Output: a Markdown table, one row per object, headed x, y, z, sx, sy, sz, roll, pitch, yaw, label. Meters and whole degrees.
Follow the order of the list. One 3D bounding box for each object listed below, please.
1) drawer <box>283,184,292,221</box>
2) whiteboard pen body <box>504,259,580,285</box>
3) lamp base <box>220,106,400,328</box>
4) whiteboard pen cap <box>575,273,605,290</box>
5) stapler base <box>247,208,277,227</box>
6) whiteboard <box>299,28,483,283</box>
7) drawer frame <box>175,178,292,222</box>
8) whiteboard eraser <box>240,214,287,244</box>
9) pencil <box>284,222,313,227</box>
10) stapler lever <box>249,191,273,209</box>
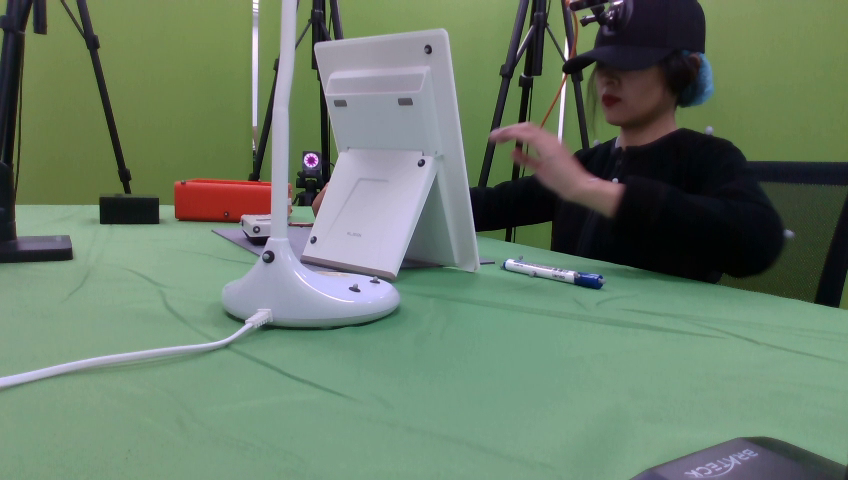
| x | y | z | sx | sy | sz | roll | pitch | yaw | label |
| --- | --- | --- | --- | --- | --- | --- | --- | --- | --- |
| -0.397 | -0.086 | 1.314 | 0.212 | 0.073 | 0.194 | 1 | 8 | -9 | drawer |
| 0.157 | 0.042 | 0.764 | 0.017 | 0.017 | 0.140 | -4 | 11 | -41 | whiteboard pen body |
| -0.101 | -0.023 | 0.531 | 0.160 | 0.180 | 0.179 | 4 | 10 | 10 | lamp base |
| 0.197 | 0.048 | 0.719 | 0.018 | 0.018 | 0.033 | -4 | 10 | -41 | whiteboard pen cap |
| -0.350 | -0.054 | 1.310 | 0.041 | 0.024 | 0.130 | 0 | 13 | -3 | stapler base |
| -0.075 | -0.082 | 0.741 | 0.216 | 0.305 | 0.144 | 9 | 30 | 38 | whiteboard |
| -0.402 | -0.087 | 1.311 | 0.214 | 0.082 | 0.201 | 1 | 8 | -9 | drawer frame |
| -0.256 | -0.018 | 0.958 | 0.056 | 0.042 | 0.112 | 0 | 8 | -25 | whiteboard eraser |
| -0.234 | -0.030 | 1.203 | 0.195 | 0.012 | 0.012 | 1 | 7 | -28 | pencil |
| -0.352 | -0.086 | 1.306 | 0.027 | 0.040 | 0.118 | 0 | 5 | -3 | stapler lever |
